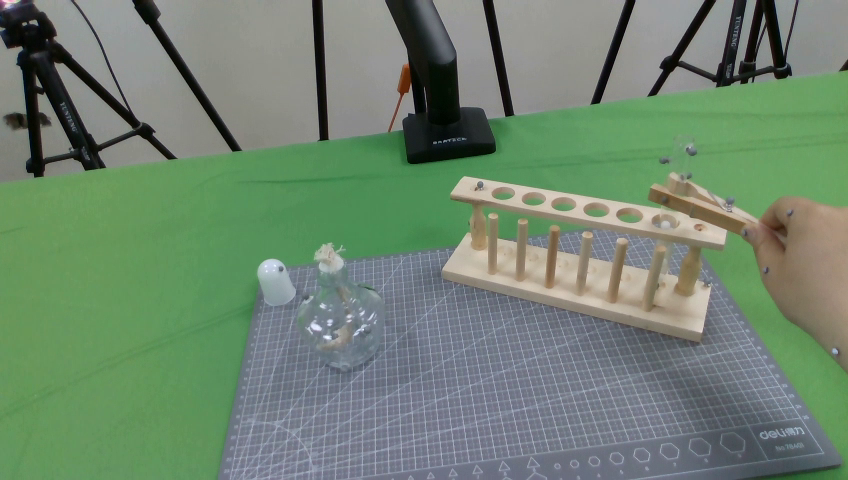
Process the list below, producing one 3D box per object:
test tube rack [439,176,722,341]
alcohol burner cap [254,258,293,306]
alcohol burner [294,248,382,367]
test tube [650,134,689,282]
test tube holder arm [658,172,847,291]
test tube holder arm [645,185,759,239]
[{"bbox_3d":[0.134,0.011,0.560,0.241,0.086,0.066,13,43,23],"label":"test tube rack"},{"bbox_3d":[-0.152,0.039,0.604,0.034,0.048,0.033,-3,39,3],"label":"alcohol burner cap"},{"bbox_3d":[-0.076,0.053,0.517,0.078,0.120,0.077,-3,40,3],"label":"alcohol burner"},{"bbox_3d":[0.203,-0.021,0.509,0.017,0.152,0.017,-5,40,4],"label":"test tube"},{"bbox_3d":[0.250,-0.005,0.451,0.013,0.015,0.176,-33,49,-20],"label":"test tube holder arm"},{"bbox_3d":[0.217,-0.023,0.475,0.087,0.015,0.010,25,55,31],"label":"test tube holder arm"}]
